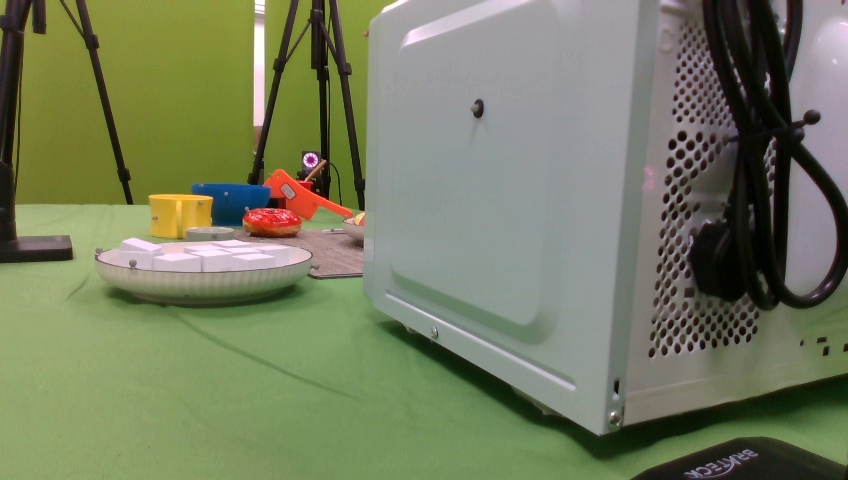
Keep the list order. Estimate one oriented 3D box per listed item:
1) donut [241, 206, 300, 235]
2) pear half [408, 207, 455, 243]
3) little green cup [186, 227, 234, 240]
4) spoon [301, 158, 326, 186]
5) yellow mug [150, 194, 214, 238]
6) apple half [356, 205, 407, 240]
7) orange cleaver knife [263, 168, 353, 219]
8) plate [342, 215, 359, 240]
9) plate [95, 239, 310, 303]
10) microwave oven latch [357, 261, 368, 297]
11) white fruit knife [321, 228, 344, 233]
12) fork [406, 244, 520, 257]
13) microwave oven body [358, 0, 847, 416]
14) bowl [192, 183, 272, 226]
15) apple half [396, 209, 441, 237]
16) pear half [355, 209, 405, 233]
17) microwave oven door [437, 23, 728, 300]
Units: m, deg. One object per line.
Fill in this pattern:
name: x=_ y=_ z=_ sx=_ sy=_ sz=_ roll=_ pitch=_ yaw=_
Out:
donut: x=-0.263 y=-0.032 z=1.039 sx=0.099 sy=0.048 sz=0.099 roll=4 pitch=9 yaw=0
pear half: x=0.018 y=-0.026 z=0.999 sx=0.076 sy=0.056 sz=0.110 roll=9 pitch=7 yaw=20
little green cup: x=-0.284 y=0.005 z=0.805 sx=0.061 sy=0.038 sz=0.061 roll=2 pitch=8 yaw=0
spoon: x=-0.321 y=-0.161 z=1.646 sx=0.041 sy=0.022 sz=0.194 roll=7 pitch=53 yaw=34
yellow mug: x=-0.401 y=-0.040 z=1.003 sx=0.100 sy=0.064 sz=0.130 roll=-1 pitch=9 yaw=-20
apple half: x=-0.065 y=-0.028 z=0.970 sx=0.081 sy=0.053 sz=0.074 roll=3 pitch=8 yaw=-27
orange cleaver knife: x=-0.262 y=-0.088 z=1.352 sx=0.211 sy=0.077 sz=0.012 roll=27 pitch=13 yaw=0
plate: x=-0.033 y=-0.014 z=1.005 sx=0.209 sy=0.038 sz=0.209 roll=2 pitch=8 yaw=0
plate: x=-0.224 y=0.031 z=0.629 sx=0.208 sy=0.039 sz=0.207 roll=2 pitch=8 yaw=0
microwave oven latch: x=-0.019 y=0.033 z=0.531 sx=0.079 sy=0.029 sz=0.030 roll=-1 pitch=7 yaw=-27
white fruit knife: x=-0.097 y=-0.022 z=1.142 sx=0.208 sy=0.016 sz=0.027 roll=-4 pitch=-21 yaw=-32
fork: x=0.064 y=0.016 z=0.893 sx=0.208 sy=0.018 sz=0.028 roll=-3 pitch=0 yaw=-35
microwave oven body: x=0.211 y=-0.047 z=0.475 sx=0.444 sy=0.260 sz=0.324 roll=-1 pitch=8 yaw=-28
bowl: x=-0.381 y=-0.071 z=1.202 sx=0.151 sy=0.077 sz=0.151 roll=3 pitch=7 yaw=0
apple half: x=-0.008 y=-0.036 z=1.053 sx=0.081 sy=0.033 sz=0.081 roll=12 pitch=26 yaw=-6
pear half: x=-0.075 y=-0.035 z=1.045 sx=0.088 sy=0.031 sz=0.070 roll=5 pitch=26 yaw=-7
microwave oven door: x=0.180 y=-0.072 z=0.621 sx=0.358 sy=0.243 sz=0.039 roll=-2 pitch=8 yaw=-29
